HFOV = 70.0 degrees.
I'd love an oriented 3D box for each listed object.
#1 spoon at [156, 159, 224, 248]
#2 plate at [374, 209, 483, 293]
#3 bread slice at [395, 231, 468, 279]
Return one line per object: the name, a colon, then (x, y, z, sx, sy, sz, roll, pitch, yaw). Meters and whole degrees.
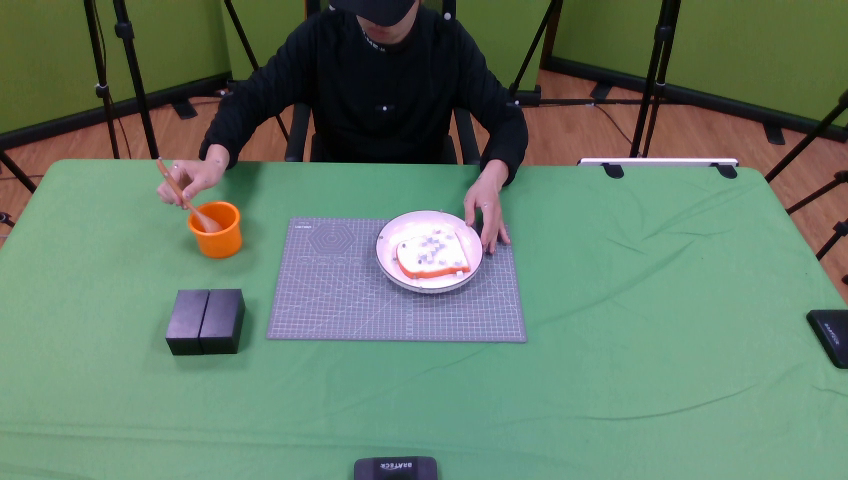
spoon: (-0.422, -0.064, 1.096, 0.021, 0.195, 0.041, -14, 33, 31)
plate: (0.009, 0.024, 1.160, 0.209, 0.038, 0.208, 2, 46, -2)
bread slice: (0.011, 0.030, 1.158, 0.132, 0.019, 0.104, -8, 47, -14)
